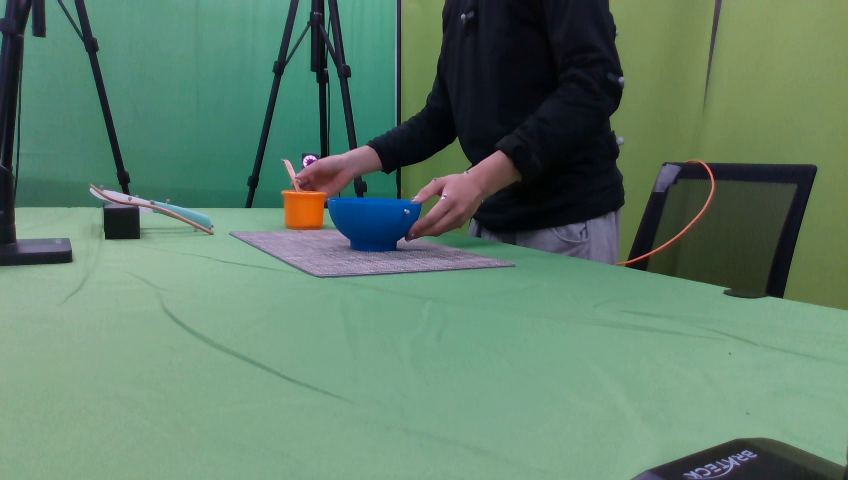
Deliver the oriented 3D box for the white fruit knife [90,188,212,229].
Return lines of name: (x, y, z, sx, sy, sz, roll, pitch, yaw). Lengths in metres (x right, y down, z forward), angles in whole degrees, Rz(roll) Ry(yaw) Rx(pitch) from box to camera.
white fruit knife: (-0.478, -0.058, 1.073, 0.208, 0.027, 0.016, 17, -4, -30)

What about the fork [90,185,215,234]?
fork: (-0.452, -0.049, 1.018, 0.208, 0.018, 0.028, 21, -7, -33)

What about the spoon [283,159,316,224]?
spoon: (-0.265, -0.104, 1.261, 0.042, 0.021, 0.193, -4, 54, -30)

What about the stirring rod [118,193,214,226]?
stirring rod: (-0.484, -0.056, 1.142, 0.177, 0.006, 0.014, 21, -5, -29)

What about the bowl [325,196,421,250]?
bowl: (-0.081, -0.027, 0.958, 0.151, 0.077, 0.151, 2, 7, 0)
